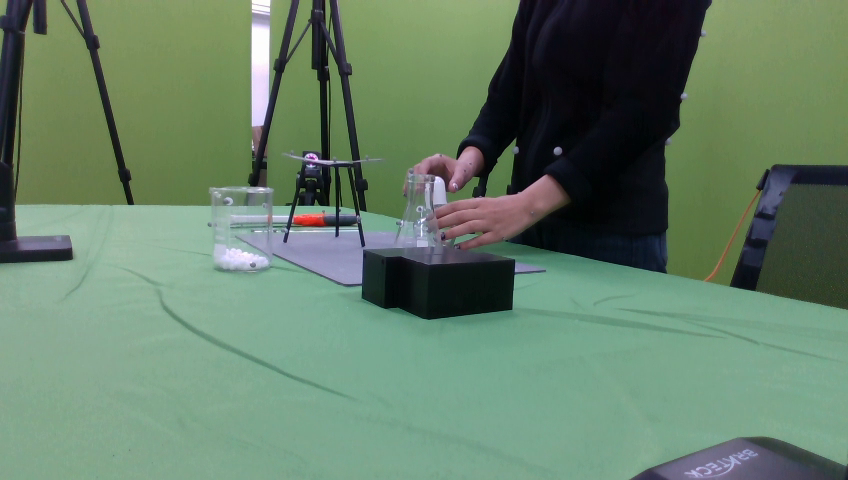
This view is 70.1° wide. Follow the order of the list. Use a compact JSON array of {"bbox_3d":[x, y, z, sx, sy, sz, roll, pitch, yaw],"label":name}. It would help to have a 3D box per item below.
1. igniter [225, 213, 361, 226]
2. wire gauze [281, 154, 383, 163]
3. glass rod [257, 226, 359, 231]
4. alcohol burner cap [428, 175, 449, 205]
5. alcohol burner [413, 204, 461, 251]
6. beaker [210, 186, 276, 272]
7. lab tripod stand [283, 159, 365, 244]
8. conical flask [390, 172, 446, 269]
[{"bbox_3d":[-0.257,-0.042,1.221,0.278,0.025,0.057,-2,-2,-32],"label":"igniter"},{"bbox_3d":[-0.146,-0.130,0.977,0.124,0.011,0.122,9,10,41],"label":"wire gauze"},{"bbox_3d":[-0.216,-0.022,1.151,0.201,0.008,0.008,-2,8,-28],"label":"glass rod"},{"bbox_3d":[0.020,-0.079,0.954,0.034,0.048,0.034,-6,2,1],"label":"alcohol burner cap"},{"bbox_3d":[0.021,-0.043,0.958,0.078,0.119,0.078,1,6,0],"label":"alcohol burner"},{"bbox_3d":[-0.224,-0.014,0.738,0.084,0.100,0.074,4,7,16],"label":"beaker"},{"bbox_3d":[-0.151,-0.063,0.983,0.148,0.131,0.148,4,7,0],"label":"lab tripod stand"},{"bbox_3d":[-0.006,-0.027,0.790,0.075,0.122,0.075,2,7,0],"label":"conical flask"}]
